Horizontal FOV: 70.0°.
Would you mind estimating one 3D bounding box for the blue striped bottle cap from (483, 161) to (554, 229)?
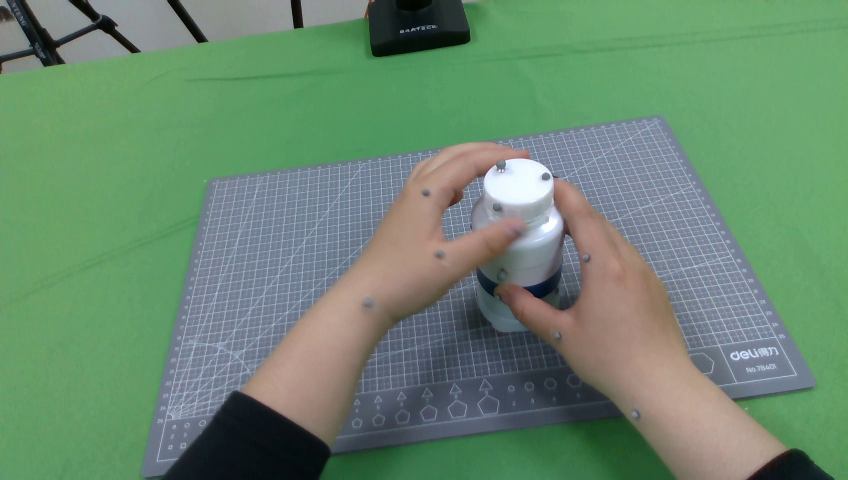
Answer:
[{"bbox_3d":[0.059,-0.029,0.379,0.044,0.021,0.044,-4,46,5],"label":"blue striped bottle cap"}]

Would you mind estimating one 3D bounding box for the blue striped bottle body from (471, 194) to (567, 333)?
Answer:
[{"bbox_3d":[0.066,0.007,0.420,0.063,0.122,0.062,-4,48,5],"label":"blue striped bottle body"}]
